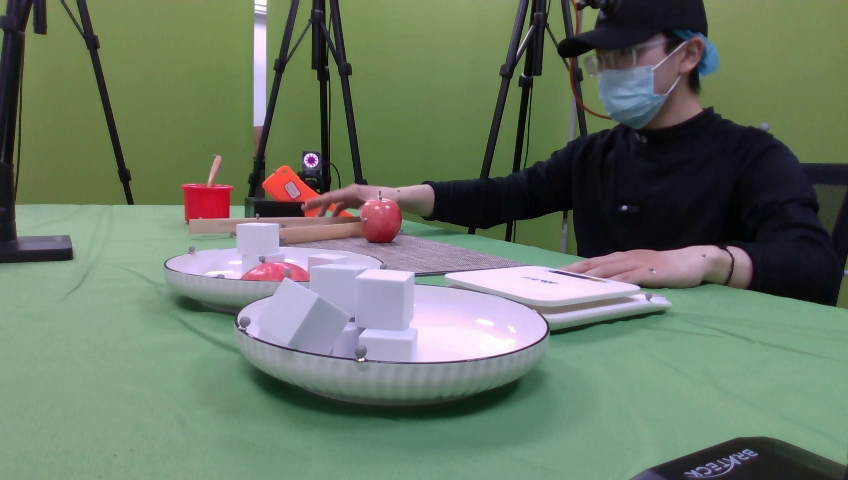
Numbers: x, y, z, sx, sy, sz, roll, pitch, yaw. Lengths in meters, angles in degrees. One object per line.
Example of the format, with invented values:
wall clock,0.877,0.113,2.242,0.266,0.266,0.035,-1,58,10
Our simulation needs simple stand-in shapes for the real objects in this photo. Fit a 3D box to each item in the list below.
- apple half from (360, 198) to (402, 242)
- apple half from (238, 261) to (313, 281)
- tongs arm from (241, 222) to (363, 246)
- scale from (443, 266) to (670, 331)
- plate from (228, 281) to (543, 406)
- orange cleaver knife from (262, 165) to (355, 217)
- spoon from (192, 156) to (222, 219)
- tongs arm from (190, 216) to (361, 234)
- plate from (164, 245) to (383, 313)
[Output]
apple half,-0.066,-0.032,1.014,0.053,0.074,0.081,9,6,21
apple half,-0.141,0.036,0.578,0.081,0.033,0.081,2,11,0
tongs arm,-0.159,-0.016,1.035,0.028,0.028,0.389,2,6,33
scale,0.131,0.052,0.603,0.202,0.031,0.148,-2,9,-37
plate,-0.025,0.067,0.413,0.208,0.039,0.207,3,7,0
orange cleaver knife,-0.243,-0.081,1.292,0.212,0.077,0.012,34,-8,-26
spoon,-0.430,-0.108,1.222,0.041,0.021,0.193,-1,52,0
tongs arm,-0.220,-0.028,1.088,0.387,0.026,0.050,-4,9,-44
plate,-0.145,0.038,0.600,0.209,0.038,0.209,2,8,0
